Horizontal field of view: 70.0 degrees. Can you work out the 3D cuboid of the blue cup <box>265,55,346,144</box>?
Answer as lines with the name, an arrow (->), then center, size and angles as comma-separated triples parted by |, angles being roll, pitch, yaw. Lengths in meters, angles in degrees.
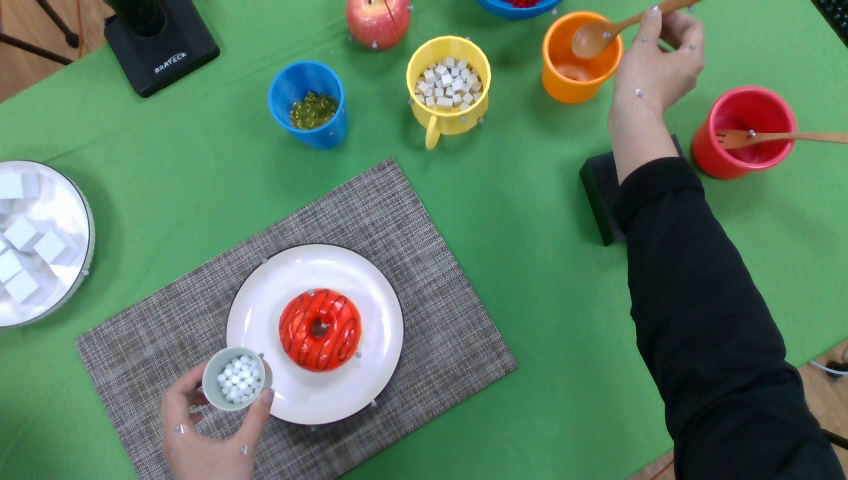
blue cup -> -0.132, -0.157, 0.721 | 0.092, 0.100, 0.092 | 0, 82, 2

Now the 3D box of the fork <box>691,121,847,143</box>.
fork -> 0.400, -0.119, 0.668 | 0.205, 0.019, 0.028 | 12, 66, 47

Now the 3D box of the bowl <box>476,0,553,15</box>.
bowl -> 0.112, -0.338, 0.748 | 0.151, 0.077, 0.151 | 0, 82, 3

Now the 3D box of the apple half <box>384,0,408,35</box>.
apple half -> -0.037, -0.296, 0.750 | 0.033, 0.081, 0.081 | -25, 80, 1

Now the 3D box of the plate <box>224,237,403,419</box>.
plate -> -0.126, 0.101, 0.709 | 0.209, 0.038, 0.208 | 0, 82, 3

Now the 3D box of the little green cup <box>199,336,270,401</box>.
little green cup -> -0.184, 0.130, 0.597 | 0.061, 0.039, 0.061 | -2, 64, 5

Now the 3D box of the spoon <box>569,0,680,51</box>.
spoon -> 0.216, -0.234, 0.624 | 0.022, 0.192, 0.041 | -4, 95, -22

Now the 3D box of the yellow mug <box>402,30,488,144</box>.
yellow mug -> 0.021, -0.178, 0.734 | 0.100, 0.064, 0.130 | 17, 84, 5

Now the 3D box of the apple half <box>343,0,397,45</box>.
apple half -> -0.072, -0.279, 0.750 | 0.053, 0.075, 0.080 | -25, 84, 2

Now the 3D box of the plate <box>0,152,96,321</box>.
plate -> -0.501, -0.003, 0.746 | 0.207, 0.039, 0.207 | 0, 81, 3

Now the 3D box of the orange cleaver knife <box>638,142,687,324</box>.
orange cleaver knife -> 0.270, -0.006, 0.689 | 0.012, 0.076, 0.212 | -16, 110, 2

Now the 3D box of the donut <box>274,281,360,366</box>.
donut -> -0.123, 0.096, 0.699 | 0.099, 0.048, 0.098 | 0, 83, 3
